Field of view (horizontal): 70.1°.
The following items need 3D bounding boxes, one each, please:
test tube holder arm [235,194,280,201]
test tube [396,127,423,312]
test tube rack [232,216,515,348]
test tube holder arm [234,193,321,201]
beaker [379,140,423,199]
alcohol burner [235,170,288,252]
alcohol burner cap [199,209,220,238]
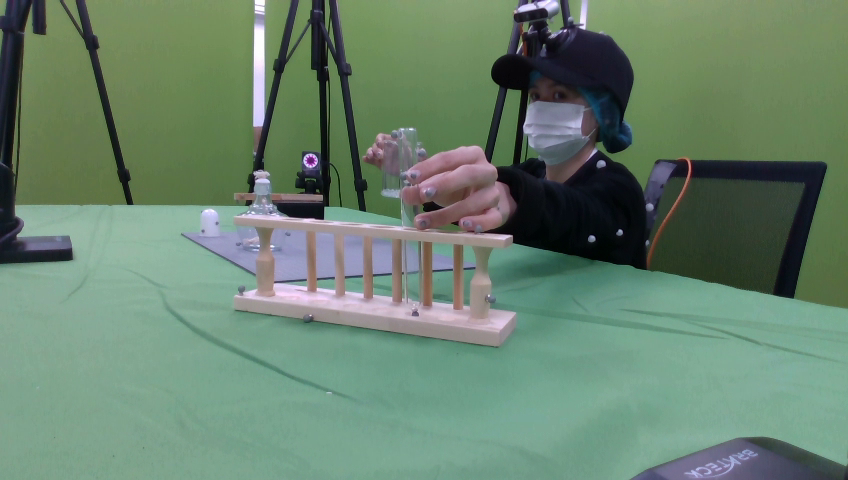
[{"bbox_3d":[-0.336,-0.086,1.221,0.088,0.015,0.010,-2,18,-29],"label":"test tube holder arm"},{"bbox_3d":[-0.011,-0.015,0.489,0.017,0.150,0.017,-2,9,1],"label":"test tube"},{"bbox_3d":[-0.045,0.028,0.526,0.241,0.085,0.067,5,8,19],"label":"test tube rack"},{"bbox_3d":[-0.299,-0.088,1.249,0.179,0.015,0.013,-2,18,-30],"label":"test tube holder arm"},{"bbox_3d":[-0.042,-0.124,1.071,0.074,0.100,0.084,6,9,5],"label":"beaker"},{"bbox_3d":[-0.236,-0.042,0.882,0.078,0.119,0.078,2,9,0],"label":"alcohol burner"},{"bbox_3d":[-0.356,-0.027,1.002,0.034,0.048,0.034,2,7,0],"label":"alcohol burner cap"}]
